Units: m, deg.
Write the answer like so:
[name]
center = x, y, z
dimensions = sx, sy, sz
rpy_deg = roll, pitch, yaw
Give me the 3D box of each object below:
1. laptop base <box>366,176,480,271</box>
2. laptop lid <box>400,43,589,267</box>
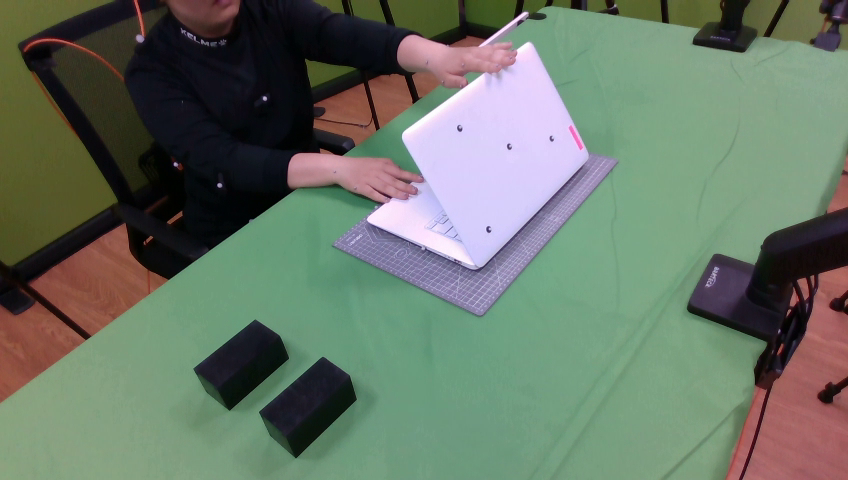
[laptop base]
center = 0.099, -0.085, 1.059
dimensions = 0.233, 0.023, 0.355
rpy_deg = 21, 48, 34
[laptop lid]
center = 0.132, -0.147, 0.960
dimensions = 0.358, 0.242, 0.013
rpy_deg = -40, 17, -35
